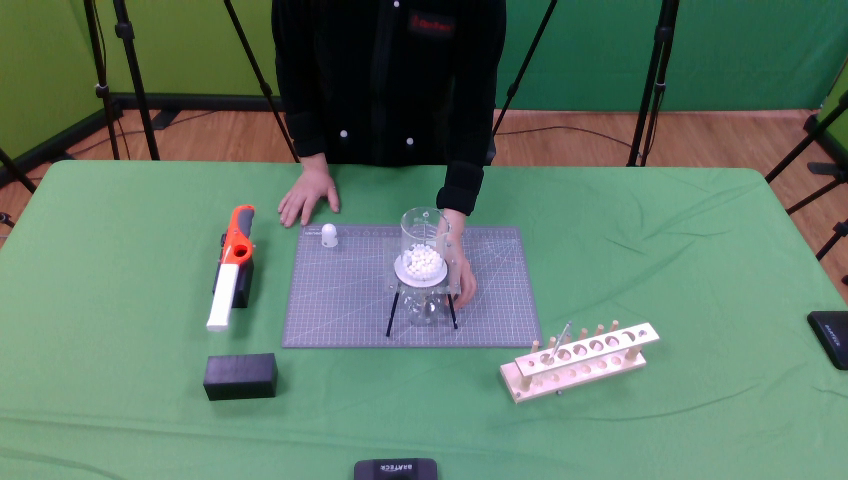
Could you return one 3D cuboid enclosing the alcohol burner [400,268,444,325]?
[{"bbox_3d":[-0.003,0.092,1.042,0.078,0.120,0.077,1,46,-1],"label":"alcohol burner"}]

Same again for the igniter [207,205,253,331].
[{"bbox_3d":[-0.339,0.038,1.066,0.057,0.025,0.274,2,48,-6],"label":"igniter"}]

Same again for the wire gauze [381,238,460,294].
[{"bbox_3d":[-0.008,0.042,0.985,0.125,0.011,0.120,-1,43,-2],"label":"wire gauze"}]

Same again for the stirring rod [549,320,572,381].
[{"bbox_3d":[0.202,0.167,0.901,0.006,0.177,0.014,-17,55,-11],"label":"stirring rod"}]

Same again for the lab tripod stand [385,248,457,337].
[{"bbox_3d":[-0.010,0.087,1.032,0.148,0.132,0.147,1,45,-1],"label":"lab tripod stand"}]

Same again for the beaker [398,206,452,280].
[{"bbox_3d":[0.000,0.008,0.950,0.084,0.101,0.073,10,45,6],"label":"beaker"}]

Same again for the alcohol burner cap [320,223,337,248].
[{"bbox_3d":[-0.187,-0.011,1.176,0.034,0.048,0.033,1,46,-1],"label":"alcohol burner cap"}]

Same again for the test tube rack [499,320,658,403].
[{"bbox_3d":[0.252,0.187,0.994,0.243,0.085,0.066,-12,48,-15],"label":"test tube rack"}]
